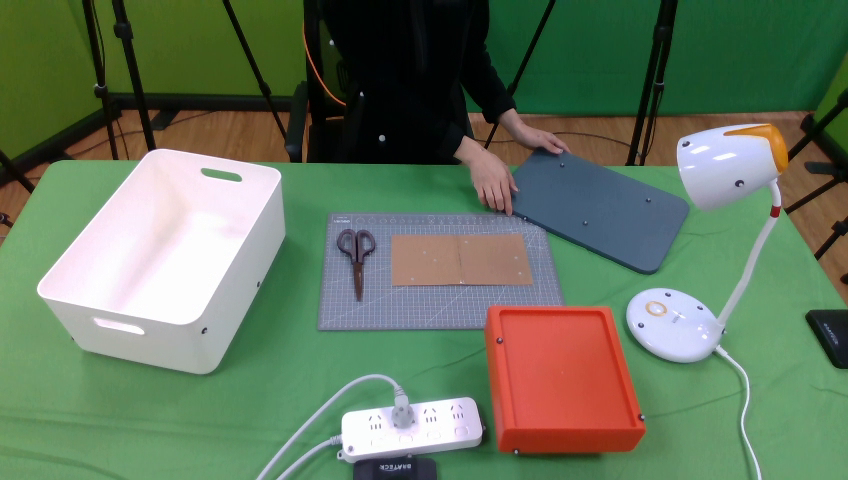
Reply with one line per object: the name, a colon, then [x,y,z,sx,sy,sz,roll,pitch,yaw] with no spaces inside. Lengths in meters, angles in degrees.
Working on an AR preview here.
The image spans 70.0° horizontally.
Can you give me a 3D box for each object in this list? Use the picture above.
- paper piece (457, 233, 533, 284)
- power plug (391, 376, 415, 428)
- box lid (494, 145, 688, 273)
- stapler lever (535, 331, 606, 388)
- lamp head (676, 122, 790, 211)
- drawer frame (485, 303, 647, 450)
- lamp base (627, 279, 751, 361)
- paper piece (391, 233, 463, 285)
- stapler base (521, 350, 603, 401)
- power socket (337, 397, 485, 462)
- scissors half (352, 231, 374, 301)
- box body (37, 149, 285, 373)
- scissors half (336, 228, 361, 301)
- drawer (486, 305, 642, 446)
paper piece: [0.136,0.035,1.182,0.136,0.009,0.137,2,45,-6]
power plug: [-0.030,0.249,0.917,0.035,0.053,0.072,3,46,-1]
box lid: [0.360,-0.081,1.311,0.370,0.015,0.263,27,49,20]
stapler lever: [0.225,0.181,0.929,0.118,0.040,0.027,27,34,15]
lamp head: [0.423,-0.104,0.819,0.122,0.113,0.112,-13,33,40]
drawer frame: [0.204,0.202,0.917,0.202,0.083,0.212,1,47,-4]
lamp base: [0.460,0.100,1.027,0.178,0.181,0.160,27,51,17]
paper piece: [0.003,0.035,1.170,0.135,0.004,0.135,1,46,-4]
stapler base: [0.217,0.203,0.942,0.130,0.024,0.041,26,33,16]
power socket: [-0.018,0.285,0.915,0.227,0.033,0.071,-4,46,-8]
scissors half: [-0.119,0.048,1.151,0.040,0.013,0.174,17,44,-14]
box body: [-0.414,0.029,1.040,0.254,0.161,0.362,10,46,5]
scissors half: [-0.138,0.045,1.145,0.040,0.013,0.174,0,49,-22]
drawer: [0.202,0.200,0.919,0.195,0.073,0.210,2,47,-4]
